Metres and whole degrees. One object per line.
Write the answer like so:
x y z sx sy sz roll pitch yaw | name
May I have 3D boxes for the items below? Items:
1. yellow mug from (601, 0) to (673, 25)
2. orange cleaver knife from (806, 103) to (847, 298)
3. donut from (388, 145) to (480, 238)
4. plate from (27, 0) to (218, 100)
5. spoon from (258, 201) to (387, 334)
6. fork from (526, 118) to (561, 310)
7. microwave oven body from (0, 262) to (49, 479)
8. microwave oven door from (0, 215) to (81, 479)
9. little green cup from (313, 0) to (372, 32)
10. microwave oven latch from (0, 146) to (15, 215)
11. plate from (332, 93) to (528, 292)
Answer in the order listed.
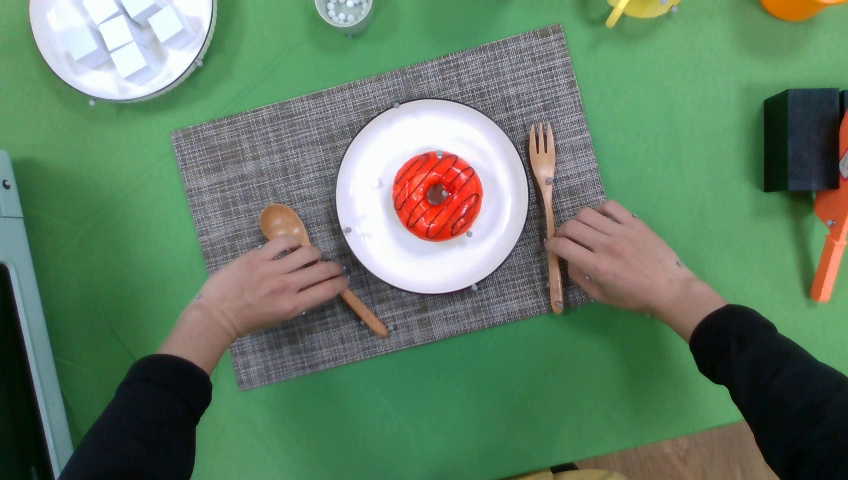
0.223 -0.279 0.623 0.100 0.064 0.131 33 94 1 | yellow mug
0.414 -0.041 0.611 0.012 0.076 0.213 0 121 6 | orange cleaver knife
0.011 -0.051 0.640 0.099 0.048 0.099 0 93 5 | donut
-0.325 -0.256 0.667 0.207 0.039 0.207 0 91 3 | plate
-0.110 0.034 0.667 0.041 0.021 0.193 -43 89 -19 | spoon
0.132 -0.027 0.654 0.028 0.018 0.207 -6 90 -16 | fork
-0.588 0.138 0.578 0.326 0.260 0.441 -12 91 3 | microwave oven body
-0.437 0.150 0.565 0.039 0.244 0.355 -12 90 3 | microwave oven door
-0.085 -0.257 0.654 0.061 0.038 0.061 0 91 4 | little green cup
-0.474 -0.067 0.662 0.030 0.029 0.079 -9 92 3 | microwave oven latch
0.007 -0.050 0.651 0.209 0.038 0.209 0 92 3 | plate
